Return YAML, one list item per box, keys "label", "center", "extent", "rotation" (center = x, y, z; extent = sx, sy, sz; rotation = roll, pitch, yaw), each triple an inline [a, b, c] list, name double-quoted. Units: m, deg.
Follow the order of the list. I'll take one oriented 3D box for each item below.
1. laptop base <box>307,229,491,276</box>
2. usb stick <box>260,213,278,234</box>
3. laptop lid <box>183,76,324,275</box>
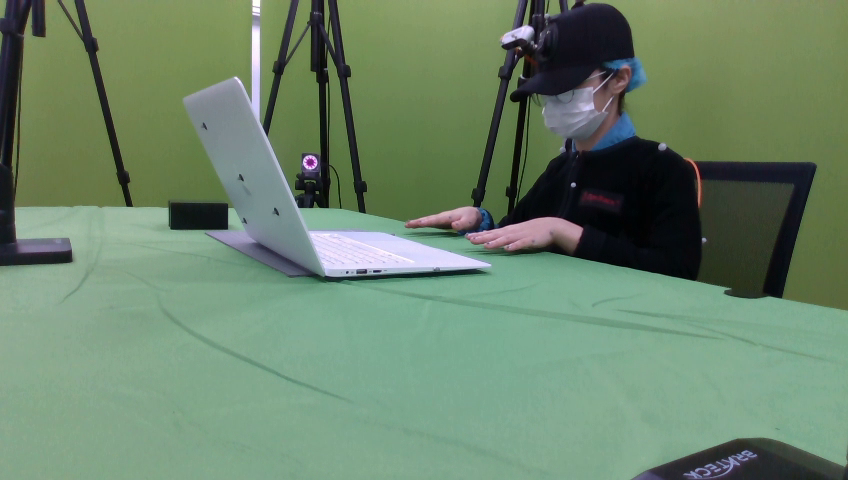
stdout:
- label: "laptop base"
  center: [-0.094, 0.015, 0.888]
  extent: [0.237, 0.023, 0.352]
  rotation: [2, 7, -30]
- label: "usb stick"
  center: [-0.260, -0.025, 1.017]
  extent: [0.021, 0.027, 0.059]
  rotation: [1, 19, -27]
- label: "laptop lid"
  center: [-0.237, -0.085, 0.791]
  extent: [0.013, 0.242, 0.355]
  rotation: [-30, 23, -23]
